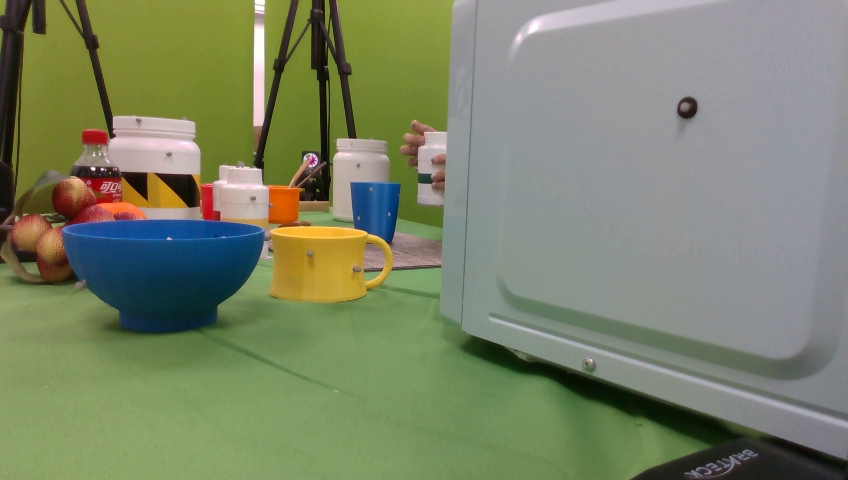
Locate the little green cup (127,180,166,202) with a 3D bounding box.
[{"bbox_3d":[-0.485,-0.086,1.061,0.061,0.038,0.061,1,7,0],"label":"little green cup"}]

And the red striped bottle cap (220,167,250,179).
[{"bbox_3d":[-0.281,-0.100,0.901,0.044,0.017,0.044,0,5,0],"label":"red striped bottle cap"}]

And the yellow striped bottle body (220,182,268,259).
[{"bbox_3d":[-0.246,-0.036,0.825,0.063,0.120,0.063,3,8,0],"label":"yellow striped bottle body"}]

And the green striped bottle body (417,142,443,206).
[{"bbox_3d":[0.020,-0.119,1.014,0.063,0.119,0.063,1,9,0],"label":"green striped bottle body"}]

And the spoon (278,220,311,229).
[{"bbox_3d":[-0.232,-0.027,1.116,0.041,0.021,0.193,-22,6,4],"label":"spoon"}]

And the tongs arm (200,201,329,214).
[{"bbox_3d":[-0.378,-0.079,1.440,0.387,0.026,0.050,-4,7,-44],"label":"tongs arm"}]

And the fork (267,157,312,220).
[{"bbox_3d":[-0.289,-0.116,1.321,0.028,0.019,0.207,6,51,19],"label":"fork"}]

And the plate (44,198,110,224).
[{"bbox_3d":[-0.617,-0.056,1.179,0.209,0.038,0.209,3,7,0],"label":"plate"}]

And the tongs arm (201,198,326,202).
[{"bbox_3d":[-0.433,-0.089,1.508,0.390,0.028,0.028,-1,2,-29],"label":"tongs arm"}]

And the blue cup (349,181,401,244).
[{"bbox_3d":[-0.082,-0.047,1.009,0.093,0.100,0.092,1,6,0],"label":"blue cup"}]

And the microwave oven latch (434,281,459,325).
[{"bbox_3d":[0.044,0.045,0.470,0.079,0.029,0.030,-2,8,-39],"label":"microwave oven latch"}]

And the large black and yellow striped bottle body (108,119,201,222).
[{"bbox_3d":[-0.412,-0.088,0.930,0.131,0.184,0.130,3,7,0],"label":"large black and yellow striped bottle body"}]

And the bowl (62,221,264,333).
[{"bbox_3d":[-0.208,0.029,0.496,0.151,0.077,0.151,2,7,0],"label":"bowl"}]

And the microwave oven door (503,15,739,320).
[{"bbox_3d":[0.218,-0.065,0.600,0.358,0.243,0.039,-4,10,-41],"label":"microwave oven door"}]

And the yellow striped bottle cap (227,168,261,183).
[{"bbox_3d":[-0.243,-0.087,0.818,0.044,0.018,0.044,3,6,0],"label":"yellow striped bottle cap"}]

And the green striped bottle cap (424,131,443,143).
[{"bbox_3d":[0.022,-0.170,1.003,0.044,0.020,0.044,-1,8,0],"label":"green striped bottle cap"}]

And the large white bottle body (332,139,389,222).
[{"bbox_3d":[-0.145,-0.137,1.387,0.131,0.184,0.130,2,7,0],"label":"large white bottle body"}]

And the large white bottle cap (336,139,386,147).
[{"bbox_3d":[-0.143,-0.219,1.375,0.115,0.018,0.115,2,8,0],"label":"large white bottle cap"}]

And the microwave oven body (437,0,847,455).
[{"bbox_3d":[0.279,-0.040,0.465,0.444,0.260,0.324,-3,9,-41],"label":"microwave oven body"}]

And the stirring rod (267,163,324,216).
[{"bbox_3d":[-0.278,-0.105,1.294,0.176,0.006,0.014,-47,26,-18],"label":"stirring rod"}]

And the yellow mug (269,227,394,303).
[{"bbox_3d":[-0.094,0.023,0.629,0.131,0.064,0.099,0,7,-22],"label":"yellow mug"}]

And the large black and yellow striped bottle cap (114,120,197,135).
[{"bbox_3d":[-0.407,-0.171,0.920,0.115,0.019,0.115,2,9,0],"label":"large black and yellow striped bottle cap"}]

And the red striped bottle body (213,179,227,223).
[{"bbox_3d":[-0.284,-0.048,0.909,0.063,0.119,0.063,3,11,0],"label":"red striped bottle body"}]
